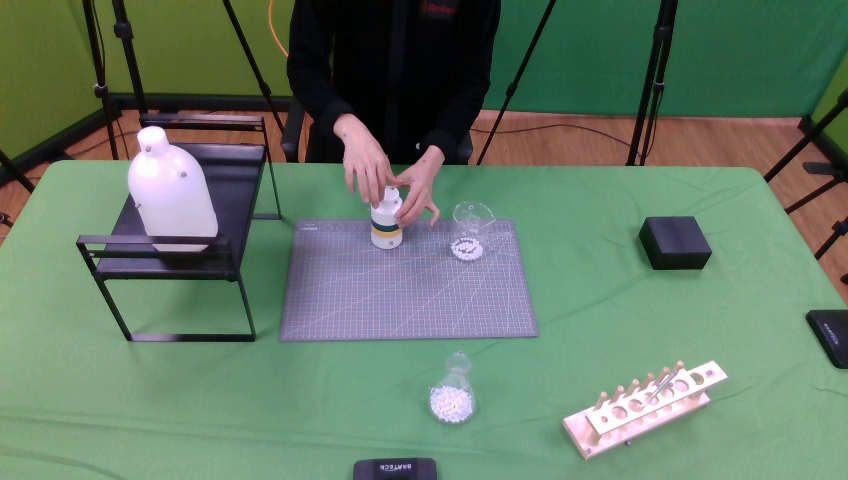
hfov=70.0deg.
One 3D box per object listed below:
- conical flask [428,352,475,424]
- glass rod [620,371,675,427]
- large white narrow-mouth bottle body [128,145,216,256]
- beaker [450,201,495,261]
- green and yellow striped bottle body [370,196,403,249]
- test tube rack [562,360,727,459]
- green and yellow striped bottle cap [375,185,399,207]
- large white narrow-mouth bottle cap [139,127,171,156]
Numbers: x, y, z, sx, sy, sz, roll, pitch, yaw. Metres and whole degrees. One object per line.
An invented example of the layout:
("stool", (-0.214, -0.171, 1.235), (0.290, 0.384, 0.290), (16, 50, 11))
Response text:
("conical flask", (0.046, 0.220, 0.920), (0.075, 0.122, 0.075), (2, 46, -2))
("glass rod", (0.316, 0.230, 0.863), (0.008, 0.200, 0.008), (3, 54, -3))
("large white narrow-mouth bottle body", (-0.366, -0.073, 0.872), (0.102, 0.195, 0.101), (3, 47, -3))
("beaker", (0.089, -0.014, 1.160), (0.084, 0.101, 0.073), (8, 47, 4))
("green and yellow striped bottle body", (-0.073, -0.045, 1.163), (0.063, 0.120, 0.063), (2, 46, -2))
("test tube rack", (0.341, 0.247, 0.940), (0.243, 0.085, 0.066), (-16, 49, -18))
("green and yellow striped bottle cap", (-0.069, -0.082, 1.124), (0.045, 0.020, 0.045), (2, 44, -2))
("large white narrow-mouth bottle cap", (-0.359, -0.132, 0.808), (0.038, 0.024, 0.037), (3, 47, -3))
